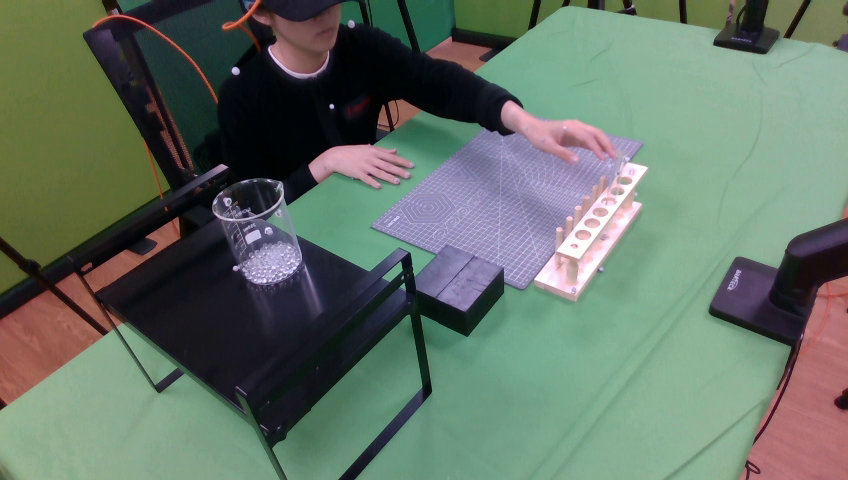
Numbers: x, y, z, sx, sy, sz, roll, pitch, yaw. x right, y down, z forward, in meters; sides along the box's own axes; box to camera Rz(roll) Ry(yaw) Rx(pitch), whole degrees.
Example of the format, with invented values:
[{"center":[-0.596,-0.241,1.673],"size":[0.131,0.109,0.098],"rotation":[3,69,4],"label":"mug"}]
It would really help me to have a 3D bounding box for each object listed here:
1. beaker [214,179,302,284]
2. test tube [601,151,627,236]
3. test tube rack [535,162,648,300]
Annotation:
[{"center":[-0.178,-0.008,0.675],"size":[0.073,0.101,0.084],"rotation":[22,48,30],"label":"beaker"},{"center":[0.276,-0.065,0.884],"size":[0.017,0.151,0.017],"rotation":[-2,41,2],"label":"test tube"},{"center":[0.257,-0.024,0.916],"size":[0.066,0.085,0.243],"rotation":[22,49,30],"label":"test tube rack"}]
